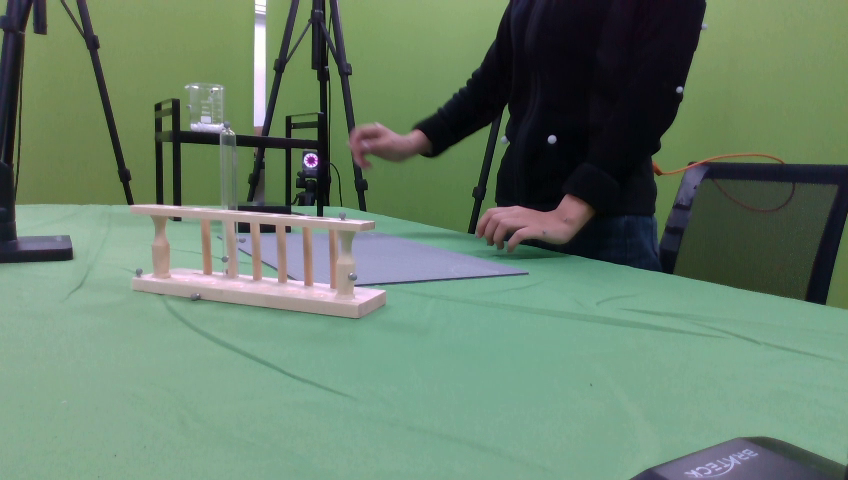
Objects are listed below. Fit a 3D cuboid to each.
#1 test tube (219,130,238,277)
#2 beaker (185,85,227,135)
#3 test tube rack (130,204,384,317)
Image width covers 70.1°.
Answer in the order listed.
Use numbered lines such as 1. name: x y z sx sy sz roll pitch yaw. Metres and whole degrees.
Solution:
1. test tube: -0.198 -0.036 0.613 0.017 0.150 0.017 2 8 0
2. beaker: -0.460 -0.275 1.282 0.084 0.100 0.073 -3 8 -27
3. test tube rack: -0.163 0.013 0.589 0.242 0.085 0.067 5 8 17
